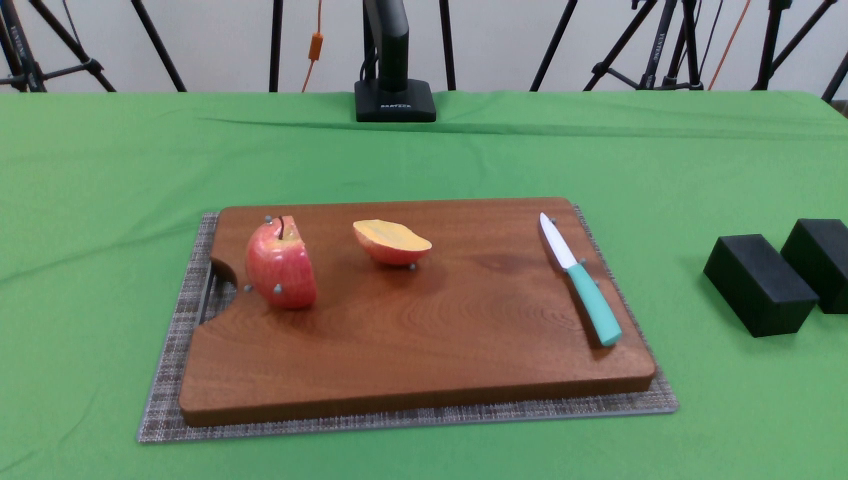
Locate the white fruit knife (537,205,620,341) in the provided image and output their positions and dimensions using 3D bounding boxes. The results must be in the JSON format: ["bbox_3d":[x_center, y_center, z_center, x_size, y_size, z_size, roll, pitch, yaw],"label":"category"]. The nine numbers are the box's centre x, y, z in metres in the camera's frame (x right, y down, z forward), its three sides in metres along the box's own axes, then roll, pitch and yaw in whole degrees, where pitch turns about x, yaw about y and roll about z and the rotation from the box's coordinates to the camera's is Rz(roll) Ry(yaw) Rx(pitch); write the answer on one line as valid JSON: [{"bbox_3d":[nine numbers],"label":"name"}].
[{"bbox_3d":[0.150,0.023,0.611,0.027,0.016,0.205,8,37,-18],"label":"white fruit knife"}]

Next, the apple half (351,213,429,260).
[{"bbox_3d":[-0.039,0.002,0.602,0.081,0.033,0.081,17,19,-6],"label":"apple half"}]

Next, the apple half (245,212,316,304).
[{"bbox_3d":[-0.133,0.021,0.549,0.053,0.075,0.080,-18,48,-17],"label":"apple half"}]
